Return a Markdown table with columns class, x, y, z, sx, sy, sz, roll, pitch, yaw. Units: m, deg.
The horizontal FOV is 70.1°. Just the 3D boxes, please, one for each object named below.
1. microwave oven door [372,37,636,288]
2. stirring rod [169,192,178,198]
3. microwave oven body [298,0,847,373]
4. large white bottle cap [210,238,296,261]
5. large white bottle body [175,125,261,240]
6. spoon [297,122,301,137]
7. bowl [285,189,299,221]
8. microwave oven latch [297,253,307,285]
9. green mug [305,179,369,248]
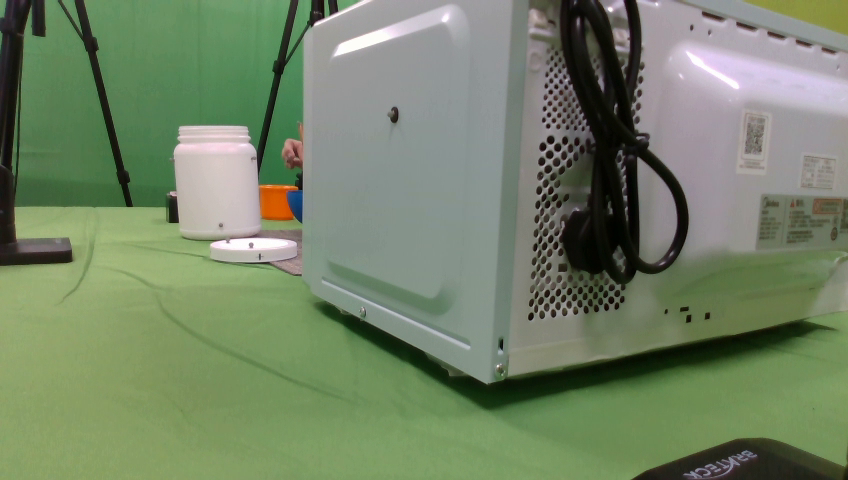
| class | x | y | z | sx | sy | sz | roll | pitch | yaw |
| --- | --- | --- | --- | --- | --- | --- | --- | --- | --- |
| microwave oven door | 0.109 | -0.080 | 0.686 | 0.358 | 0.243 | 0.039 | -2 | 9 | -33 |
| stirring rod | -0.465 | -0.098 | 1.283 | 0.014 | 0.006 | 0.177 | 41 | 21 | 17 |
| microwave oven body | 0.151 | -0.055 | 0.542 | 0.444 | 0.260 | 0.324 | -2 | 7 | -33 |
| large white bottle cap | -0.236 | 0.012 | 0.839 | 0.115 | 0.018 | 0.115 | 1 | 7 | 0 |
| large white bottle body | -0.349 | -0.100 | 1.025 | 0.131 | 0.184 | 0.130 | -1 | 9 | 0 |
| spoon | -0.214 | -0.124 | 1.116 | 0.021 | 0.193 | 0.042 | -8 | -5 | 20 |
| bowl | -0.179 | -0.051 | 1.112 | 0.151 | 0.077 | 0.151 | 3 | 8 | 0 |
| microwave oven latch | -0.081 | 0.027 | 0.582 | 0.079 | 0.029 | 0.030 | -1 | 7 | -32 |
| green mug | -0.133 | -0.044 | 0.977 | 0.092 | 0.105 | 0.126 | 6 | 8 | 32 |
